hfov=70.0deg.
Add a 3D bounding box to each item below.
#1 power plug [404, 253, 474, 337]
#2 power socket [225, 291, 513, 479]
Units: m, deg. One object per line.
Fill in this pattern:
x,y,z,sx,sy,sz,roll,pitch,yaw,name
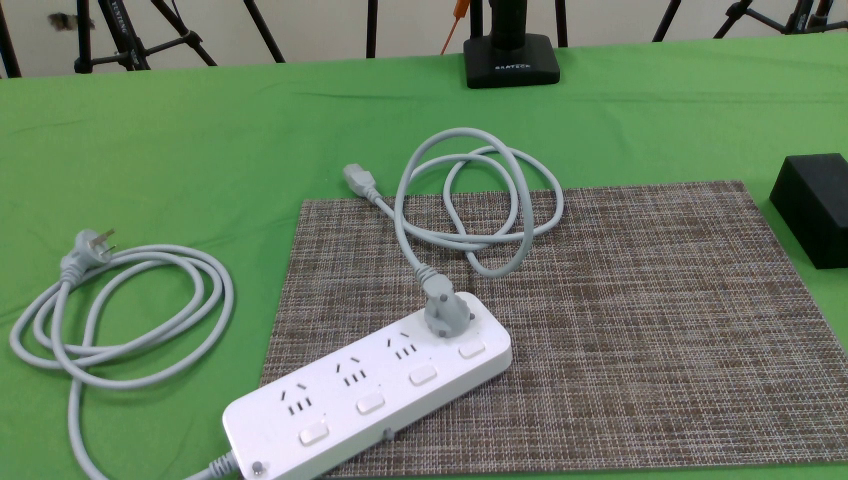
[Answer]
0.013,0.044,0.472,0.035,0.053,0.071,-16,46,-11,power plug
-0.035,0.106,0.445,0.227,0.033,0.071,-24,46,-19,power socket
